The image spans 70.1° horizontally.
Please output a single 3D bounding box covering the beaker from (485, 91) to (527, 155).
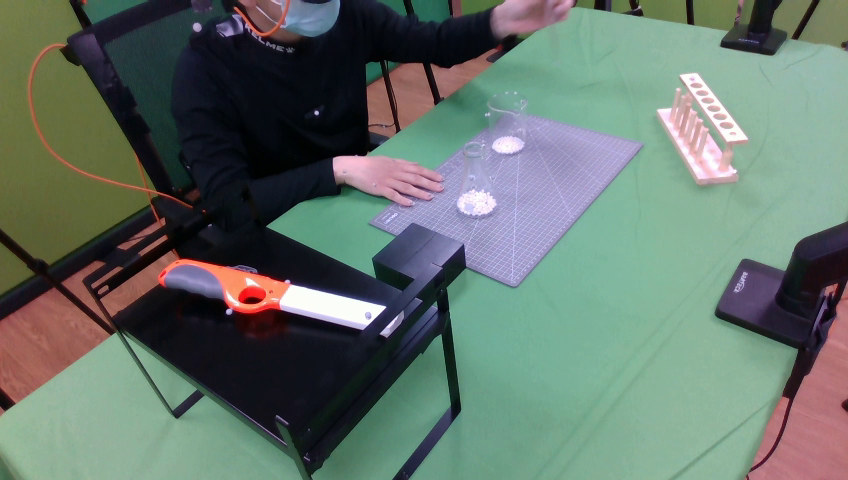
[{"bbox_3d":[0.158,-0.217,1.141,0.074,0.101,0.083,-19,42,-12],"label":"beaker"}]

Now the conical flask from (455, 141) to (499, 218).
[{"bbox_3d":[0.085,-0.103,0.999,0.075,0.122,0.075,-4,40,4],"label":"conical flask"}]

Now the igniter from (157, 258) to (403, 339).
[{"bbox_3d":[-0.156,0.059,0.638,0.275,0.025,0.057,11,43,14],"label":"igniter"}]

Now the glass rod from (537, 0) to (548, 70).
[{"bbox_3d":[0.203,-0.396,1.057,0.008,0.199,0.008,-6,-2,0],"label":"glass rod"}]

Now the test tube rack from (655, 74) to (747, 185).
[{"bbox_3d":[0.491,-0.205,1.092,0.067,0.085,0.241,-5,40,3],"label":"test tube rack"}]
